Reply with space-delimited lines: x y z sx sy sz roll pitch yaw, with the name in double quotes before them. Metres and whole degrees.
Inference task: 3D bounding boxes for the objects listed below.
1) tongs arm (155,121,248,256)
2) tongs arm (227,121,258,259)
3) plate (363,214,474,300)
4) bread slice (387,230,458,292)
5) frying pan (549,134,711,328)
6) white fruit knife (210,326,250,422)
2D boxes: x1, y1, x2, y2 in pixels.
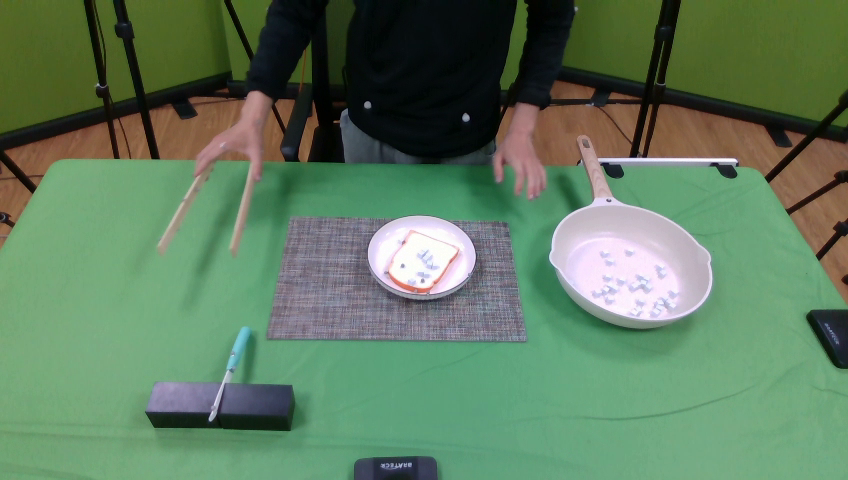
"tongs arm" -0.417 -0.112 1.166 0.051 0.026 0.382 3 45 3
"tongs arm" -0.349 -0.109 1.166 0.028 0.028 0.385 -6 45 -1
"plate" -0.010 0.036 1.146 0.208 0.039 0.206 3 46 -2
"bread slice" -0.007 0.043 1.142 0.107 0.018 0.134 18 46 14
"frying pan" 0.372 -0.035 1.203 0.307 0.103 0.484 -1 55 -6
"white fruit knife" -0.301 0.201 0.942 0.016 0.027 0.206 1 32 -1
